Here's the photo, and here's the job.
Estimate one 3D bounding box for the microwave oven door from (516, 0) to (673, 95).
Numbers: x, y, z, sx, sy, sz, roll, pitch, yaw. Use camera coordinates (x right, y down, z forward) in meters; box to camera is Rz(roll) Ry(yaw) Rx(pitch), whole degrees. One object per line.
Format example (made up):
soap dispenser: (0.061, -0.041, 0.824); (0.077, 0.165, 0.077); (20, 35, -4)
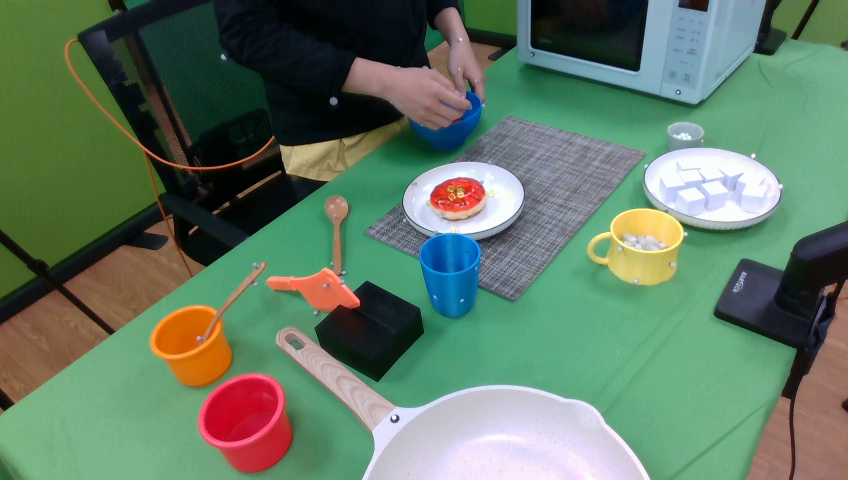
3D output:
microwave oven door: (0.344, -0.458, 1.256); (0.353, 0.245, 0.039); (26, 51, 33)

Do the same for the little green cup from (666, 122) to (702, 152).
little green cup: (0.471, -0.184, 1.102); (0.061, 0.039, 0.061); (-5, 41, 5)

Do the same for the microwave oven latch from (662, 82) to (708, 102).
microwave oven latch: (0.517, -0.298, 1.202); (0.078, 0.029, 0.030); (27, 52, 34)

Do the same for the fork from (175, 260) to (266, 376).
fork: (-0.268, 0.103, 0.792); (0.207, 0.019, 0.028); (-51, 41, 16)

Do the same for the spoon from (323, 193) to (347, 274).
spoon: (-0.148, -0.014, 1.008); (0.042, 0.021, 0.192); (5, 38, -13)

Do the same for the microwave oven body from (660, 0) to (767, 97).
microwave oven body: (0.473, -0.516, 1.313); (0.438, 0.261, 0.327); (26, 51, 34)

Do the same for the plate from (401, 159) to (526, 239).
plate: (0.067, -0.065, 1.019); (0.209, 0.038, 0.208); (-4, 40, 4)

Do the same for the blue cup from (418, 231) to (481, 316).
blue cup: (0.040, 0.053, 0.843); (0.092, 0.100, 0.092); (-4, 43, 4)

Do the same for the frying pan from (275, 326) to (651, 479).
frying pan: (0.004, 0.229, 0.641); (0.484, 0.103, 0.308); (34, 54, 28)

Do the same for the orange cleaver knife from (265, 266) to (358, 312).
orange cleaver knife: (-0.164, 0.073, 0.864); (0.210, 0.077, 0.012); (-6, 31, 50)

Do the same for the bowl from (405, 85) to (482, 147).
bowl: (0.041, -0.237, 1.197); (0.151, 0.077, 0.150); (-4, 41, 4)

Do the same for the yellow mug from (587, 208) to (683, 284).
yellow mug: (0.305, 0.009, 0.884); (0.131, 0.064, 0.099); (-4, 41, 5)

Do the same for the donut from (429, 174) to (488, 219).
donut: (0.058, -0.075, 1.015); (0.099, 0.048, 0.098); (-6, 38, 5)

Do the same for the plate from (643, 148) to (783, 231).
plate: (0.464, -0.080, 0.986); (0.207, 0.039, 0.206); (-4, 41, 4)
